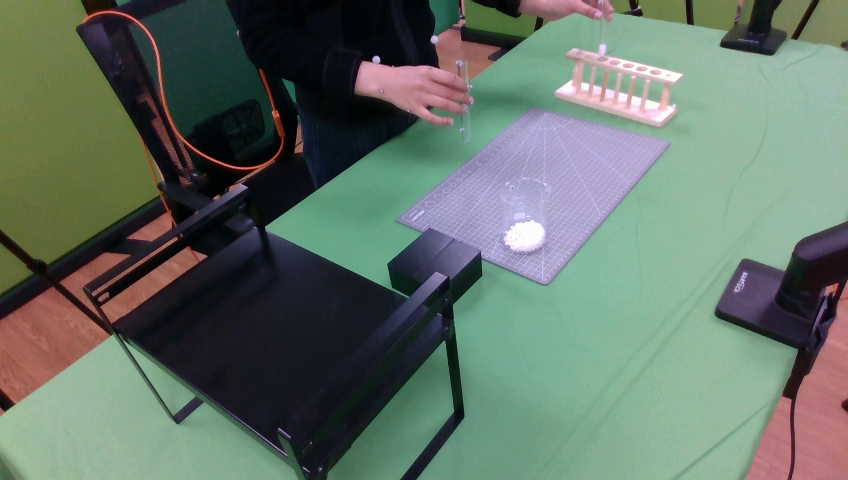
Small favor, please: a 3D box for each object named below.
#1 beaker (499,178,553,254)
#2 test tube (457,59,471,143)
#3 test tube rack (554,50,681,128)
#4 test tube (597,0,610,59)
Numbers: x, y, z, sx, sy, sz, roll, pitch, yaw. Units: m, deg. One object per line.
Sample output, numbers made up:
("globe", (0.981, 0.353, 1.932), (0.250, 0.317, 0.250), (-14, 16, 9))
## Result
("beaker", (0.158, -0.036, 0.929), (0.084, 0.100, 0.073), (-16, 41, -12))
("test tube", (0.068, -0.231, 1.020), (0.017, 0.151, 0.017), (-4, 38, 4))
("test tube rack", (0.388, -0.311, 1.234), (0.240, 0.085, 0.067), (28, 51, 34))
("test tube", (0.353, -0.427, 1.188), (0.017, 0.151, 0.017), (-5, 43, 5))
